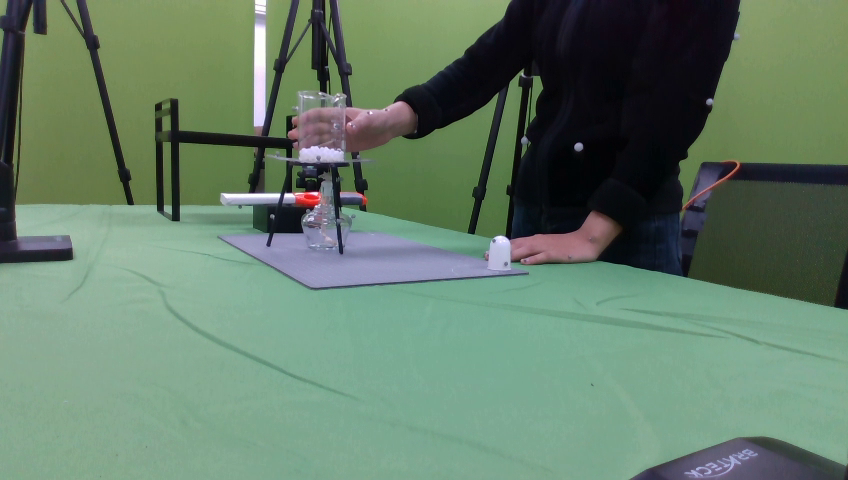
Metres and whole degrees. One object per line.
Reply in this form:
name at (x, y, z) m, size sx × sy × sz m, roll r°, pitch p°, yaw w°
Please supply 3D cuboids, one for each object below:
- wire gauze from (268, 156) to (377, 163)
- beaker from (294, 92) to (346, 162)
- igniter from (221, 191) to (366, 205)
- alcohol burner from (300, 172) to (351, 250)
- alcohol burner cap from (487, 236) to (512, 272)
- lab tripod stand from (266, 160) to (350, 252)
wire gauze at (-0.154, -0.119, 0.909) m, size 0.122 × 0.011 × 0.124 m, roll -5°, pitch 8°, yaw -44°
beaker at (-0.151, -0.166, 0.896) m, size 0.074 × 0.100 × 0.083 m, roll -4°, pitch 10°, yaw -32°
igniter at (-0.240, -0.078, 1.150) m, size 0.278 × 0.025 × 0.057 m, roll -3°, pitch 20°, yaw -32°
alcohol burner at (-0.149, -0.044, 0.921) m, size 0.078 × 0.119 × 0.078 m, roll 4°, pitch 7°, yaw 0°
alcohol burner cap at (0.101, 0.019, 0.802) m, size 0.034 × 0.048 × 0.034 m, roll 3°, pitch 7°, yaw 0°
lab tripod stand at (-0.163, -0.054, 0.915) m, size 0.148 × 0.131 × 0.148 m, roll 2°, pitch 9°, yaw 0°
